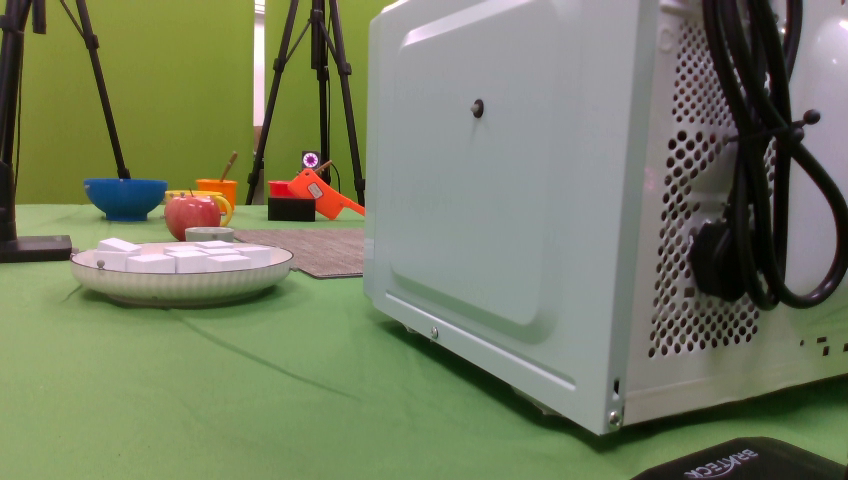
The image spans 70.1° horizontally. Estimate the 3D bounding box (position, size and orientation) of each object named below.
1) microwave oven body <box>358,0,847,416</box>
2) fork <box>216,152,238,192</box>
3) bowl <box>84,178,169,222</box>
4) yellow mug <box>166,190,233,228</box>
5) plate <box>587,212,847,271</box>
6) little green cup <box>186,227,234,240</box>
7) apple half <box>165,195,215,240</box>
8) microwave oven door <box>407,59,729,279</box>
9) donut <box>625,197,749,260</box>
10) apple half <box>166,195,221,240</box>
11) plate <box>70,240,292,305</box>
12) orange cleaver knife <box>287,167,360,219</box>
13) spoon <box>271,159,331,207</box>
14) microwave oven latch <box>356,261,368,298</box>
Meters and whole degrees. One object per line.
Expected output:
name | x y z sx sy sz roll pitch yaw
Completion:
microwave oven body | 0.211 -0.047 0.474 0.444 0.260 0.324 -1 7 -28
fork | -0.455 -0.132 1.367 0.028 0.018 0.207 -2 -35 -37
bowl | -0.584 -0.078 1.194 0.151 0.077 0.151 3 8 0
yellow mug | -0.415 -0.057 1.132 0.130 0.064 0.100 6 8 16
plate | 0.243 -0.002 0.511 0.209 0.038 0.209 2 4 0
little green cup | -0.284 0.005 0.805 0.061 0.038 0.061 2 8 0
apple half | -0.377 -0.038 0.964 0.082 0.081 0.032 -4 15 -39
microwave oven door | 0.162 -0.084 0.716 0.356 0.243 0.039 3 8 5
donut | 0.224 -0.009 0.520 0.099 0.048 0.099 9 5 0
apple half | -0.351 -0.031 0.935 0.081 0.074 0.053 1 11 -40
plate | -0.242 0.031 0.618 0.208 0.039 0.207 2 8 0
orange cleaver knife | -0.209 -0.089 1.383 0.212 0.077 0.012 31 3 -15
spoon | -0.308 -0.142 1.514 0.193 0.021 0.041 -41 5 9
microwave oven latch | -0.019 0.033 0.529 0.079 0.029 0.030 0 7 -25
